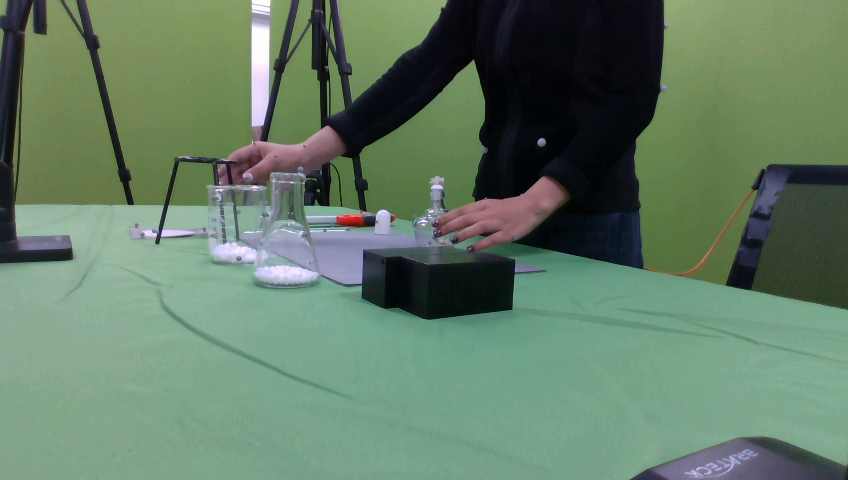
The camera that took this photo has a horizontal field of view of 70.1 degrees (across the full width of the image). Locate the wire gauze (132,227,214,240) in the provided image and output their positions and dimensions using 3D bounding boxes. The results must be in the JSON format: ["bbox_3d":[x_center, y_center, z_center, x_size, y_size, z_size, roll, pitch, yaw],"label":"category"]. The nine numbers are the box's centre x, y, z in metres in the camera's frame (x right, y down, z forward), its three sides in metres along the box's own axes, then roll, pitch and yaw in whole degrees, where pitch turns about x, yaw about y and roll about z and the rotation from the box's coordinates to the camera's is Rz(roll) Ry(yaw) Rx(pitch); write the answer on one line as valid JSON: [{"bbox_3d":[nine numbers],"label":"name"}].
[{"bbox_3d":[-0.425,-0.013,1.018,0.122,0.011,0.124,-1,6,-28],"label":"wire gauze"}]

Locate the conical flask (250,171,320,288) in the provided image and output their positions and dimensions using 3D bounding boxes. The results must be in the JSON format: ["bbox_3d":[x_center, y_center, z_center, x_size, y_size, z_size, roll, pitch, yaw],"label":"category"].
[{"bbox_3d":[-0.150,-0.013,0.658,0.075,0.122,0.075,2,7,0],"label":"conical flask"}]

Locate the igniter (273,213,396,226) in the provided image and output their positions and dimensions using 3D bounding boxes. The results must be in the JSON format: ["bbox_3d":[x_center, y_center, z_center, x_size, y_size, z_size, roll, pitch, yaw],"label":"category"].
[{"bbox_3d":[-0.179,-0.044,1.258,0.278,0.025,0.057,-3,-2,-39],"label":"igniter"}]

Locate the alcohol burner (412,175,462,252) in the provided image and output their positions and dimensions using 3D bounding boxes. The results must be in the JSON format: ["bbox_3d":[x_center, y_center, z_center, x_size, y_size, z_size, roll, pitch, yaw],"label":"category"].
[{"bbox_3d":[0.020,-0.041,0.948,0.078,0.119,0.078,0,7,0],"label":"alcohol burner"}]

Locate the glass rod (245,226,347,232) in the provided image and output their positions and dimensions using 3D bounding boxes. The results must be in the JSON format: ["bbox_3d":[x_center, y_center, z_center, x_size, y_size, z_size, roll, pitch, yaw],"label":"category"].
[{"bbox_3d":[-0.237,-0.021,1.140,0.201,0.008,0.008,-2,8,-33],"label":"glass rod"}]

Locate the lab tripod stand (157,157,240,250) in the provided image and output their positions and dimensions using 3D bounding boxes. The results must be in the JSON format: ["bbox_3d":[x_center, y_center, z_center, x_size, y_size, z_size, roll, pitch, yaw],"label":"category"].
[{"bbox_3d":[-0.322,-0.057,0.905,0.148,0.131,0.148,4,7,0],"label":"lab tripod stand"}]

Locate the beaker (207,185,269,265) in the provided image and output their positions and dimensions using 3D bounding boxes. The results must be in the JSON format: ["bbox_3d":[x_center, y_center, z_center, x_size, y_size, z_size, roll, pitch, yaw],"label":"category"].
[{"bbox_3d":[-0.244,-0.021,0.784,0.083,0.100,0.074,6,8,30],"label":"beaker"}]

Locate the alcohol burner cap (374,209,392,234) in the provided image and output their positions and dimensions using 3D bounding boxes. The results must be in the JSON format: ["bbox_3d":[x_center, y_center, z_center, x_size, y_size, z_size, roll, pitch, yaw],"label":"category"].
[{"bbox_3d":[-0.078,-0.036,1.148,0.034,0.048,0.034,2,7,0],"label":"alcohol burner cap"}]
